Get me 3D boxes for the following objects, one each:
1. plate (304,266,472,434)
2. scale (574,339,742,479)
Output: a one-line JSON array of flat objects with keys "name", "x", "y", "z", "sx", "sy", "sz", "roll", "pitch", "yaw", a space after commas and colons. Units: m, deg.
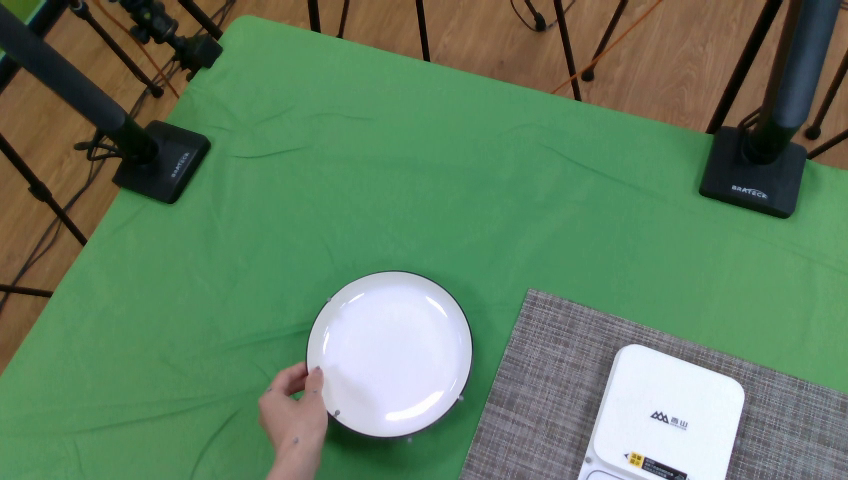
[{"name": "plate", "x": -0.043, "y": 0.135, "z": 0.755, "sx": 0.209, "sy": 0.038, "sz": 0.207, "roll": -2, "pitch": 68, "yaw": 5}, {"name": "scale", "x": 0.270, "y": 0.226, "z": 0.697, "sx": 0.148, "sy": 0.032, "sz": 0.200, "roll": 19, "pitch": 71, "yaw": 15}]
